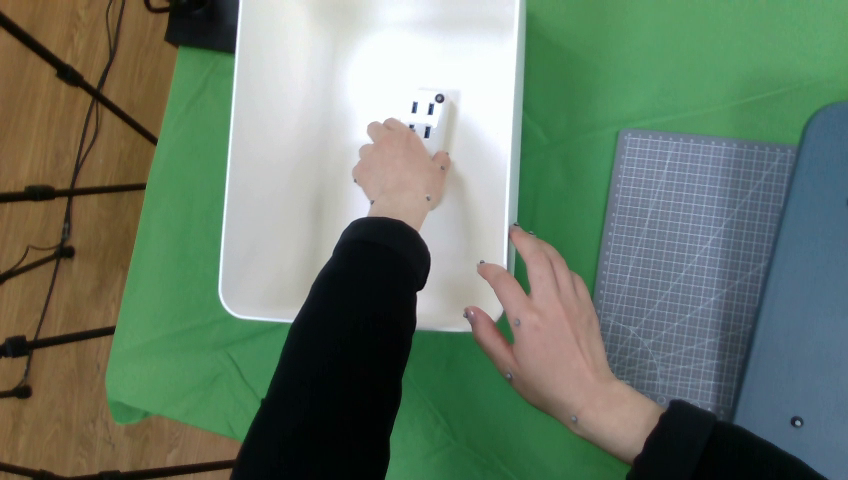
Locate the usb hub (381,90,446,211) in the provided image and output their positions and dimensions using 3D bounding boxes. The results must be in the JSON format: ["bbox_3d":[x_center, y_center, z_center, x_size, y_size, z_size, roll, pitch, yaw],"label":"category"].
[{"bbox_3d":[-0.011,-0.096,0.651,0.049,0.025,0.125,9,89,12],"label":"usb hub"}]

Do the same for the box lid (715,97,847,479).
[{"bbox_3d":[0.425,0.077,0.524,0.262,0.015,0.372,10,100,13],"label":"box lid"}]

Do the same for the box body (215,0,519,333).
[{"bbox_3d":[-0.038,-0.100,0.594,0.253,0.161,0.363,1,86,12],"label":"box body"}]
